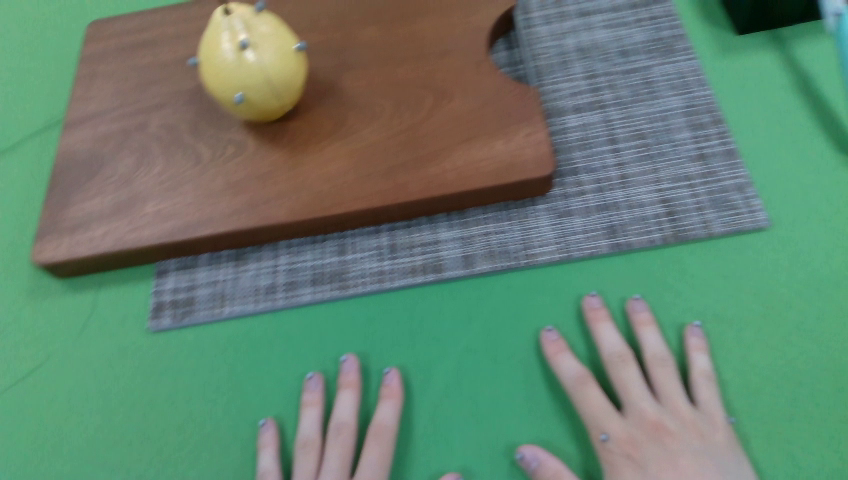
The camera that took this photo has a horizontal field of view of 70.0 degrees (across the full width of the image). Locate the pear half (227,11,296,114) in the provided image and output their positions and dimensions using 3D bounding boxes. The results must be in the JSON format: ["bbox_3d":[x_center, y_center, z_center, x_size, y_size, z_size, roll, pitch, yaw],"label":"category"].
[{"bbox_3d":[-0.119,-0.141,0.466,0.031,0.089,0.069,-24,57,-6],"label":"pear half"}]

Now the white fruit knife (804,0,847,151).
[{"bbox_3d":[0.302,-0.164,0.458,0.016,0.027,0.206,-7,76,0],"label":"white fruit knife"}]

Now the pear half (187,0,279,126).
[{"bbox_3d":[-0.153,-0.134,0.456,0.056,0.111,0.075,-24,57,-5],"label":"pear half"}]
